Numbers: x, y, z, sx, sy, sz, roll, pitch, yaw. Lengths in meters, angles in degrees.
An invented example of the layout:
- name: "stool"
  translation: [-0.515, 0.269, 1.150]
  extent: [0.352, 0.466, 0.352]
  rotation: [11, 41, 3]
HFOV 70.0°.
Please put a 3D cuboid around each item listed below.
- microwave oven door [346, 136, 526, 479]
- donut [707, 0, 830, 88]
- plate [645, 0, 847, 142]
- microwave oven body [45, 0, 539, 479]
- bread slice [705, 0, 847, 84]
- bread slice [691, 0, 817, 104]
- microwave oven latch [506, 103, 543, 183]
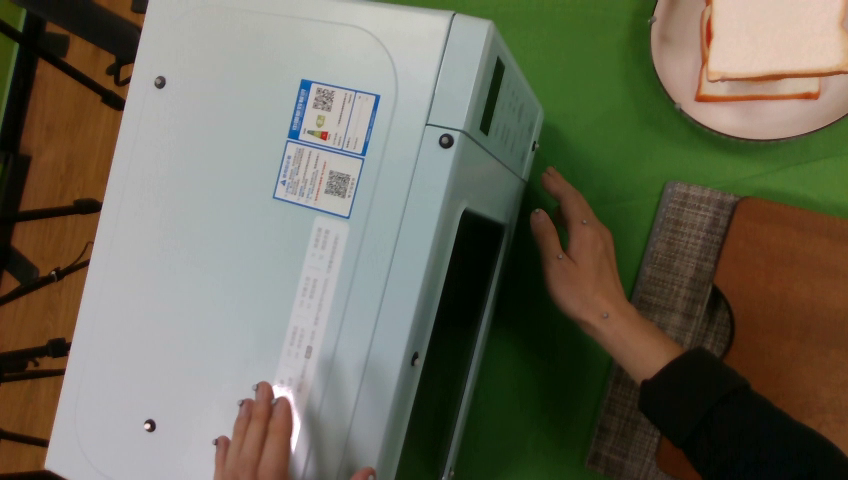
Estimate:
- name: "microwave oven door"
  translation: [0.010, 0.106, 0.531]
  extent: [0.039, 0.245, 0.355]
  rotation: [14, 92, 20]
- name: "donut"
  translation: [0.304, -0.186, 0.538]
  extent: [0.099, 0.048, 0.099]
  rotation: [1, 94, 15]
- name: "plate"
  translation: [0.315, -0.191, 0.565]
  extent: [0.207, 0.039, 0.207]
  rotation: [-1, 87, 20]
- name: "microwave oven body"
  translation: [-0.111, 0.031, 0.583]
  extent: [0.324, 0.261, 0.441]
  rotation: [15, 93, 19]
- name: "bread slice"
  translation: [0.293, -0.196, 0.511]
  extent: [0.106, 0.018, 0.134]
  rotation: [-2, 81, 21]
- name: "bread slice"
  translation: [0.309, -0.194, 0.568]
  extent: [0.104, 0.019, 0.131]
  rotation: [1, 88, 18]
- name: "microwave oven latch"
  translation: [0.099, -0.100, 0.618]
  extent: [0.030, 0.029, 0.079]
  rotation: [16, 93, 19]
